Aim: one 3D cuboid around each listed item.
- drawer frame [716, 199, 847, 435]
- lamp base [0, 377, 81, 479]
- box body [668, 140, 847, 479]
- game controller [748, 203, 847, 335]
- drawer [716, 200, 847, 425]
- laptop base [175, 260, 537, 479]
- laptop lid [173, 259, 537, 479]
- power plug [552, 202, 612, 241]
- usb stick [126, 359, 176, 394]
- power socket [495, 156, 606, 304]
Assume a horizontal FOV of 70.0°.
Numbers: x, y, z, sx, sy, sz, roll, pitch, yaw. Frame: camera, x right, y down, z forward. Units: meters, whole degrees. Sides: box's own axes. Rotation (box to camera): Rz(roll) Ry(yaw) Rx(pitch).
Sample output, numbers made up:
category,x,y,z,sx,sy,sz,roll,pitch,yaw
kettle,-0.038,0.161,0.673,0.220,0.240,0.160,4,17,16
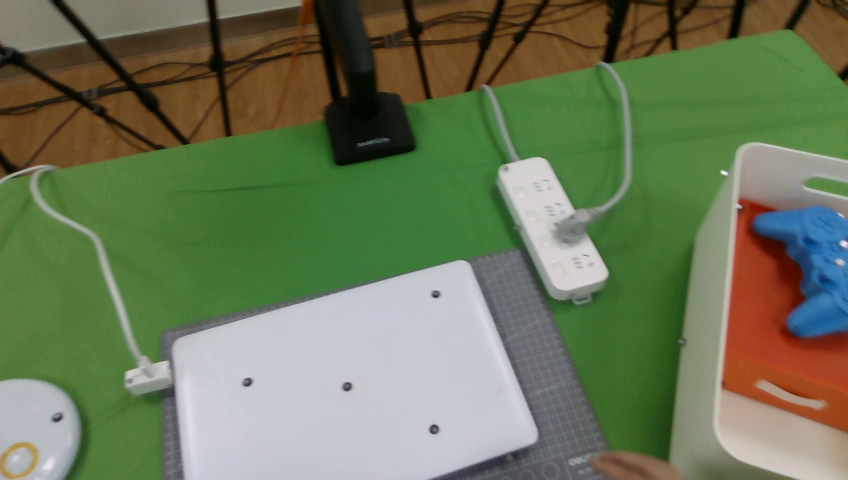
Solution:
category,x,y,z,sx,sy,sz,roll,pitch,yaw
drawer frame,0.409,0.079,0.666,0.201,0.083,0.212,20,54,12
lamp base,-0.454,0.172,0.565,0.179,0.182,0.159,9,56,10
box body,0.404,0.101,0.612,0.253,0.162,0.361,15,57,11
game controller,0.418,0.025,0.643,0.097,0.052,0.153,3,56,-3
drawer,0.413,0.077,0.665,0.194,0.074,0.210,18,60,14
laptop base,-0.082,0.163,0.663,0.355,0.023,0.233,-15,60,-10
laptop lid,-0.082,0.159,0.652,0.357,0.013,0.239,-14,59,-8
power plug,0.195,-0.016,0.746,0.072,0.053,0.035,-4,55,-4
usb stick,-0.290,0.148,0.661,0.059,0.027,0.021,-11,51,-11
power socket,0.157,-0.021,0.777,0.072,0.033,0.224,-14,56,-10
